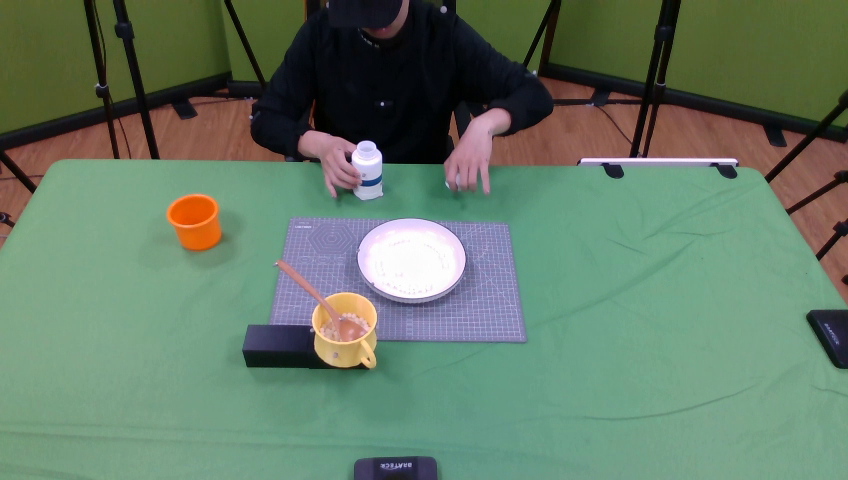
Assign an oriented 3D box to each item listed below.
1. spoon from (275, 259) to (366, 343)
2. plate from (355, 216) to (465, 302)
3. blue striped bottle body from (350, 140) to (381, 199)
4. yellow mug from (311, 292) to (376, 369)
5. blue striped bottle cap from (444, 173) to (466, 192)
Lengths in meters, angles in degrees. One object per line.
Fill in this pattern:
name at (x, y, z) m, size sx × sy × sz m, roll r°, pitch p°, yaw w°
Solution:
spoon at (-0.161, 0.098, 0.946) m, size 0.194 × 0.021 × 0.041 m, roll 48°, pitch 56°, yaw -5°
plate at (-0.027, 0.039, 1.144) m, size 0.208 × 0.039 × 0.206 m, roll 2°, pitch 46°, yaw -2°
blue striped bottle body at (-0.122, -0.148, 1.263) m, size 0.063 × 0.121 × 0.062 m, roll 2°, pitch 46°, yaw -2°
yellow mug at (-0.115, 0.149, 0.945) m, size 0.100 × 0.064 × 0.130 m, roll -30°, pitch 57°, yaw -28°
blue striped bottle cap at (0.066, -0.124, 1.296) m, size 0.044 × 0.021 × 0.044 m, roll 9°, pitch 40°, yaw -7°
